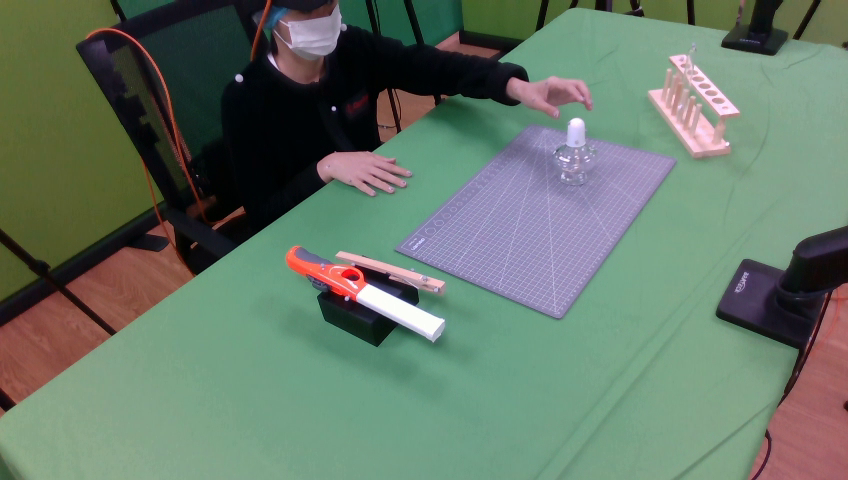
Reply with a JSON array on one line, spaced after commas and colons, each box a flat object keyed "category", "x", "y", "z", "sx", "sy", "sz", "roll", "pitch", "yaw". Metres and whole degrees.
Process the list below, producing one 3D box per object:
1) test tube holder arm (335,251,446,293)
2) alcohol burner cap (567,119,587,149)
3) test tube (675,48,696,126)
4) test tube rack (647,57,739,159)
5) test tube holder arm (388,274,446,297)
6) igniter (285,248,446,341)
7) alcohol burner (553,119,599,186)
[{"category": "test tube holder arm", "x": -0.050, "y": 0.043, "z": 0.853, "sx": 0.177, "sy": 0.013, "sz": 0.015, "roll": 17, "pitch": 39, "yaw": 24}, {"category": "alcohol burner cap", "x": 0.257, "y": -0.180, "z": 1.019, "sx": 0.034, "sy": 0.048, "sz": 0.033, "roll": -6, "pitch": 35, "yaw": 5}, {"category": "test tube", "x": 0.481, "y": -0.279, "z": 1.112, "sx": 0.017, "sy": 0.151, "sz": 0.017, "roll": -5, "pitch": 40, "yaw": 5}, {"category": "test tube rack", "x": 0.504, "y": -0.257, "z": 1.153, "sx": 0.067, "sy": 0.085, "sz": 0.241, "roll": -8, "pitch": 40, "yaw": 1}, {"category": "test tube holder arm", "x": -0.011, "y": 0.060, "z": 0.838, "sx": 0.087, "sy": 0.010, "sz": 0.015, "roll": 18, "pitch": 39, "yaw": 24}, {"category": "igniter", "x": -0.091, "y": 0.069, "z": 0.831, "sx": 0.274, "sy": 0.025, "sz": 0.057, "roll": 22, "pitch": 47, "yaw": 27}, {"category": "alcohol burner", "x": 0.261, "y": -0.153, "z": 1.042, "sx": 0.078, "sy": 0.119, "sz": 0.077, "roll": -6, "pitch": 40, "yaw": 6}]
